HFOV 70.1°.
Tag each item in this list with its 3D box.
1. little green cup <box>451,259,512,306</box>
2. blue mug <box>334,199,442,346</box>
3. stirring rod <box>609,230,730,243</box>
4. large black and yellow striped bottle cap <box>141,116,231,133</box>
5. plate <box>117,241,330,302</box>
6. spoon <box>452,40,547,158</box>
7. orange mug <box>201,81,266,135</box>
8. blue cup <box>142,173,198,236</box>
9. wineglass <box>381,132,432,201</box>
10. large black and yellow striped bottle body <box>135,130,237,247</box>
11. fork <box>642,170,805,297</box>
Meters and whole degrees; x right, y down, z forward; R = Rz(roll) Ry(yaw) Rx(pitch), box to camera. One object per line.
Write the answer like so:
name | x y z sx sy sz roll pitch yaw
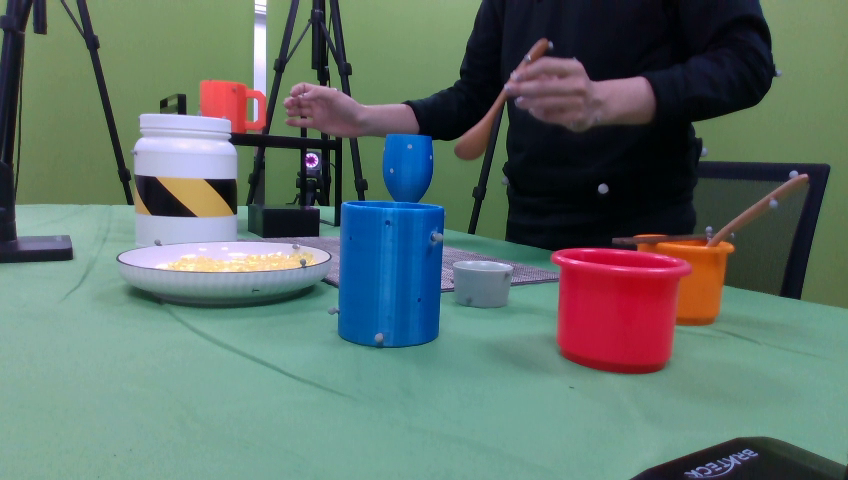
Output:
little green cup | 0.057 0.043 0.611 0.061 0.038 0.061 3 7 0
blue mug | -0.034 0.020 0.498 0.083 0.106 0.116 0 7 -20
stirring rod | 0.241 -0.004 0.582 0.177 0.006 0.014 -4 10 -33
large black and yellow striped bottle cap | -0.324 -0.157 0.826 0.115 0.019 0.115 1 7 0
plate | -0.203 0.031 0.630 0.209 0.038 0.209 3 7 0
spoon | 0.097 -0.180 0.790 0.042 0.193 0.021 23 32 -19
orange mug | -0.377 -0.260 1.198 0.126 0.101 0.083 -3 8 -6
blue cup | -0.425 -0.060 1.014 0.093 0.100 0.092 4 9 0
wineglass | -0.026 -0.062 0.841 0.074 0.172 0.073 2 7 0
large black and yellow striped bottle body | -0.327 -0.074 0.838 0.131 0.184 0.130 2 7 0
fork | 0.261 0.003 0.545 0.028 0.018 0.207 5 -37 -15
